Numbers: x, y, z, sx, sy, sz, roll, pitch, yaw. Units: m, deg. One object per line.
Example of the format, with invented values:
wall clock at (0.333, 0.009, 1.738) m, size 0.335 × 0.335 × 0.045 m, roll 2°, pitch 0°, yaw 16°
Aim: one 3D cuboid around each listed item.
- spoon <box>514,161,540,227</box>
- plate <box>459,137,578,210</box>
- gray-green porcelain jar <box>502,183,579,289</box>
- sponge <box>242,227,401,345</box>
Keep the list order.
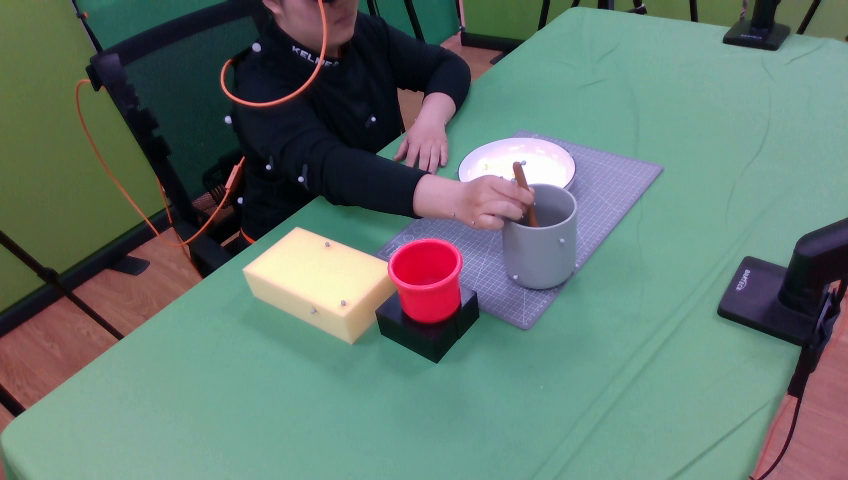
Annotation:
spoon at (0.147, -0.039, 0.837) m, size 0.041 × 0.195 × 0.021 m, roll 8°, pitch 50°, yaw 30°
plate at (0.166, -0.113, 1.069) m, size 0.207 × 0.039 × 0.206 m, roll -5°, pitch 40°, yaw 5°
gray-green porcelain jar at (0.167, -0.001, 0.866) m, size 0.106 × 0.127 × 0.105 m, roll -5°, pitch 40°, yaw 5°
sponge at (-0.153, 0.063, 0.907) m, size 0.205 × 0.061 × 0.118 m, roll 19°, pitch 48°, yaw 30°
